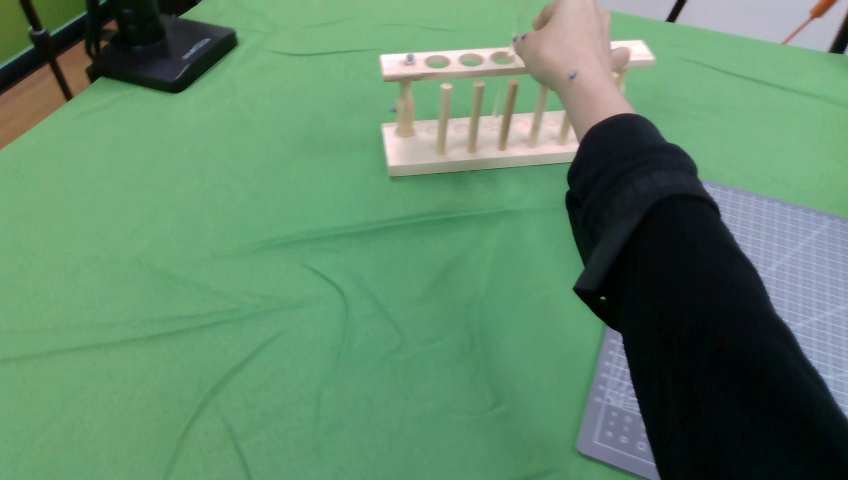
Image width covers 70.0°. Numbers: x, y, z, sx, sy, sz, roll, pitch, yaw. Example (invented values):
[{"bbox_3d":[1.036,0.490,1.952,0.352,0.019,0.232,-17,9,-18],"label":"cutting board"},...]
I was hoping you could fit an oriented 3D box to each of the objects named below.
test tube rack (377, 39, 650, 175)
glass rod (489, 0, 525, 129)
[{"bbox_3d":[0.082,-0.123,0.555,0.243,0.086,0.066,-6,47,-7],"label":"test tube rack"},{"bbox_3d":[0.074,-0.171,0.510,0.008,0.201,0.008,4,49,-4],"label":"glass rod"}]
